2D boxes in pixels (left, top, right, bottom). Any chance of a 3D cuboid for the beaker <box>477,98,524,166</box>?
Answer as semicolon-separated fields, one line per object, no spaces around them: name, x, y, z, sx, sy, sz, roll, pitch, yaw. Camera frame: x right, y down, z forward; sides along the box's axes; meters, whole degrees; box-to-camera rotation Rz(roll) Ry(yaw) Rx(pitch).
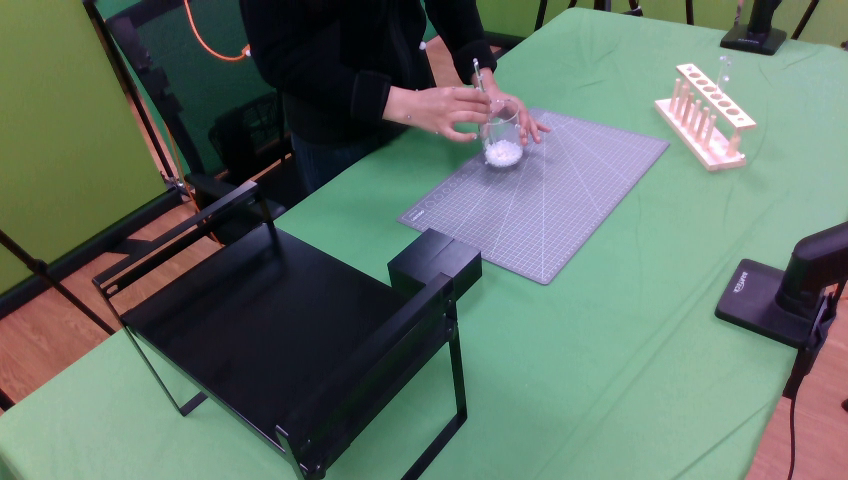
beaker;0.138;-0.191;1.071;0.073;0.101;0.084;5;48;22

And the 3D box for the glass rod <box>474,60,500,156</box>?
glass rod;0.108;-0.217;1.020;0.008;0.201;0.008;-10;48;12

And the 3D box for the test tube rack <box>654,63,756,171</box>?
test tube rack;0.510;-0.233;1.120;0.067;0.085;0.241;-8;41;-1

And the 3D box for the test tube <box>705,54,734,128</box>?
test tube;0.523;-0.260;1.073;0.017;0.151;0.017;-4;46;5
